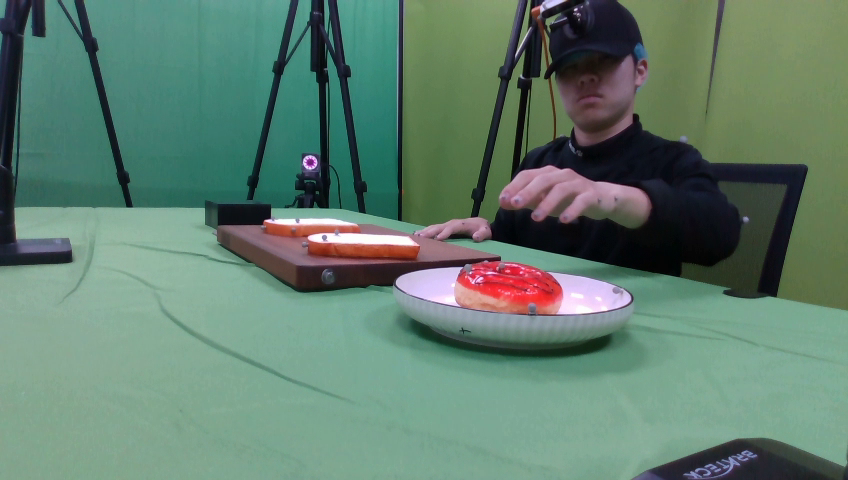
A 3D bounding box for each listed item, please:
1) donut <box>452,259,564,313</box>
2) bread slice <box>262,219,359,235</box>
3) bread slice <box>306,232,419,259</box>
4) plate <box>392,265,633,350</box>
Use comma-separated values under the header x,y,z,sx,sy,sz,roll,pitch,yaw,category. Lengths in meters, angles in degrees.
x,y,z,sx,sy,sz,roll,pitch,yaw,category
0.074,0.045,0.536,0.099,0.048,0.099,5,8,0,donut
-0.179,-0.021,0.931,0.132,0.019,0.104,-1,7,-35,bread slice
-0.077,0.006,0.747,0.135,0.018,0.106,2,7,-12,bread slice
0.074,0.057,0.533,0.209,0.038,0.209,3,7,0,plate
